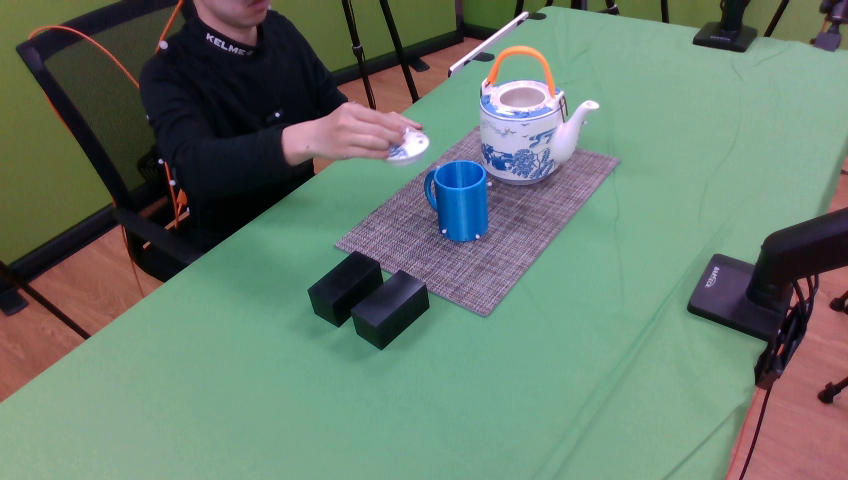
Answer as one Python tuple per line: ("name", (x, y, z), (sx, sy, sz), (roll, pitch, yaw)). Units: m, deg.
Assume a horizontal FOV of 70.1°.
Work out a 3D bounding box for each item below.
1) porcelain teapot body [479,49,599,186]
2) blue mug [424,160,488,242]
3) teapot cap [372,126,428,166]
("porcelain teapot body", (0.192, -0.208, 1.023), (0.204, 0.226, 0.145), (16, 46, 25))
("blue mug", (0.047, -0.067, 0.970), (0.115, 0.106, 0.082), (22, 49, 30))
("teapot cap", (-0.036, -0.142, 0.887), (0.085, 0.044, 0.085), (-6, 40, 5))
